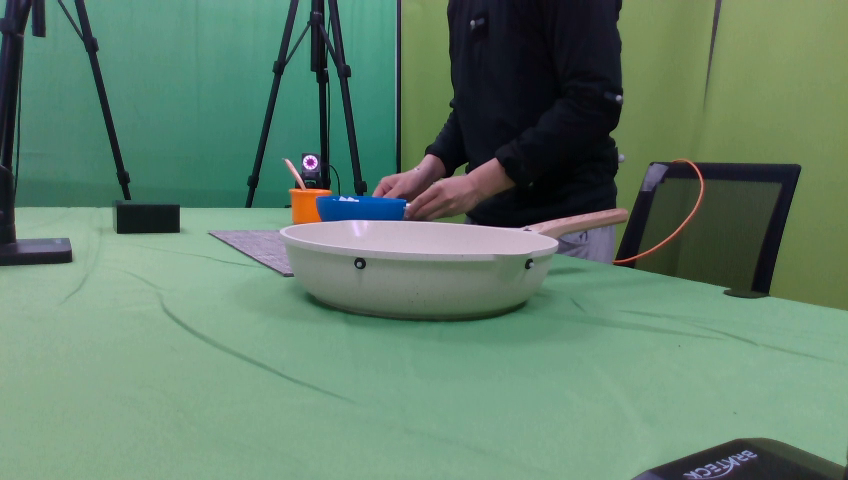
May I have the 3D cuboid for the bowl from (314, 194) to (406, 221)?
[{"bbox_3d":[-0.105,-0.032,0.991,0.151,0.077,0.151,2,7,0],"label":"bowl"}]

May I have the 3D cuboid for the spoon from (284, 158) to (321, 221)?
[{"bbox_3d":[-0.269,-0.113,1.336,0.042,0.193,0.021,-4,-35,-43],"label":"spoon"}]

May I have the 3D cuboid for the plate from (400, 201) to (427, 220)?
[{"bbox_3d":[-0.099,-0.058,1.193,0.208,0.039,0.207,2,6,0],"label":"plate"}]

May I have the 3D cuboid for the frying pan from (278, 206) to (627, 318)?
[{"bbox_3d":[0.079,0.002,0.705,0.490,0.102,0.305,-12,15,-33],"label":"frying pan"}]
